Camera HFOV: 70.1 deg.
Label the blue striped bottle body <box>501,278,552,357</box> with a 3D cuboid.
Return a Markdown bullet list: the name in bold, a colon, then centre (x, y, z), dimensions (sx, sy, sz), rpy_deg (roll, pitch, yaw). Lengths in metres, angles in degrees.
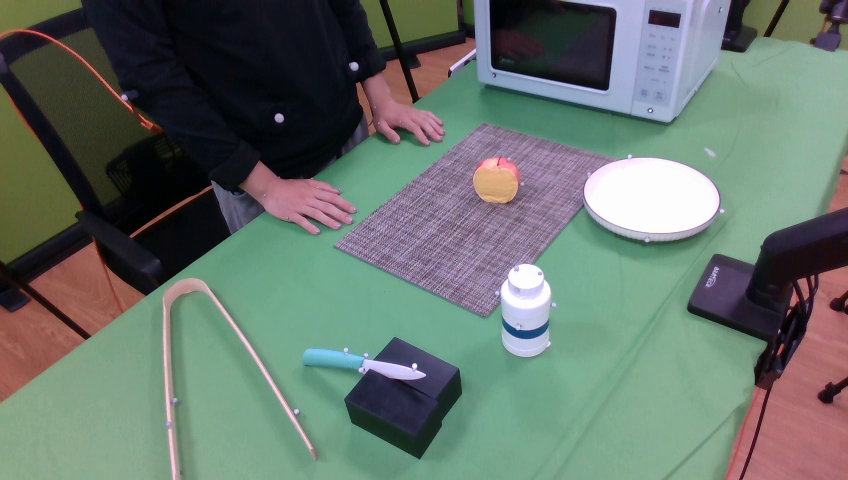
- **blue striped bottle body**: centre (0.130, 0.088, 0.769), dimensions (0.063, 0.121, 0.063), rpy_deg (-4, 41, 4)

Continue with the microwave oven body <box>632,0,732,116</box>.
- **microwave oven body**: centre (0.377, -0.462, 1.267), dimensions (0.438, 0.261, 0.327), rpy_deg (21, 48, 30)

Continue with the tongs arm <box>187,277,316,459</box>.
- **tongs arm**: centre (-0.241, 0.154, 0.815), dimensions (0.028, 0.028, 0.384), rpy_deg (-31, 46, -21)

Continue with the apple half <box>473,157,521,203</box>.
- **apple half**: centre (0.128, -0.107, 1.030), dimensions (0.080, 0.075, 0.053), rpy_deg (4, 38, 19)

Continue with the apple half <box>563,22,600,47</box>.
- **apple half**: centre (0.334, -0.447, 1.299), dimensions (0.081, 0.033, 0.081), rpy_deg (-16, 36, 12)

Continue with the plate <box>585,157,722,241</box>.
- **plate**: centre (0.367, -0.063, 0.979), dimensions (0.207, 0.039, 0.206), rpy_deg (-4, 41, 4)

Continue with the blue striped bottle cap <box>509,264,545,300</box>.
- **blue striped bottle cap**: centre (0.125, 0.051, 0.735), dimensions (0.044, 0.021, 0.044), rpy_deg (-6, 38, 5)

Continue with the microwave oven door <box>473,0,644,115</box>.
- **microwave oven door**: centre (0.257, -0.396, 1.199), dimensions (0.353, 0.245, 0.039), rpy_deg (21, 48, 29)

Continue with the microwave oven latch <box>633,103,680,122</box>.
- **microwave oven latch**: centre (0.444, -0.249, 1.157), dimensions (0.078, 0.029, 0.030), rpy_deg (21, 48, 30)

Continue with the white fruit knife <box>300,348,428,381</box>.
- **white fruit knife**: centre (-0.079, 0.154, 0.748), dimensions (0.206, 0.027, 0.016), rpy_deg (1, 20, 34)

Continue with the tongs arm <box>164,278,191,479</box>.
- **tongs arm**: centre (-0.313, 0.182, 0.789), dimensions (0.051, 0.026, 0.381), rpy_deg (-19, 41, -14)

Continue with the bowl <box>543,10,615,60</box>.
- **bowl**: centre (0.335, -0.439, 1.306), dimensions (0.151, 0.077, 0.151), rpy_deg (-8, 30, 5)
